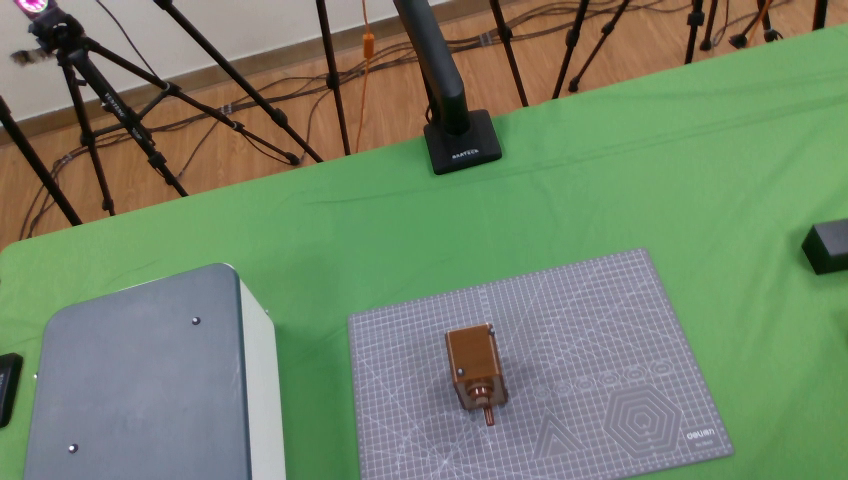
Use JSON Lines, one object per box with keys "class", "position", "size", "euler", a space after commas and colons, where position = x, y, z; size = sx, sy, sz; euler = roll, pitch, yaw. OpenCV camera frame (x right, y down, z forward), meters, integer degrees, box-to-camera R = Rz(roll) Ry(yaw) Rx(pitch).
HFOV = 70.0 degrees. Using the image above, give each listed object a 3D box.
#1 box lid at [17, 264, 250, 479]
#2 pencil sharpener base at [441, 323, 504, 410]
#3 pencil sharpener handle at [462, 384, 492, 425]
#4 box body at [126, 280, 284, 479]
{"class": "box lid", "position": [-0.333, 0.205, 0.697], "size": [0.263, 0.015, 0.367], "euler": [-16, 57, 0]}
{"class": "pencil sharpener base", "position": [0.063, 0.165, 0.766], "size": [0.061, 0.108, 0.076], "euler": [-12, 56, 3]}
{"class": "pencil sharpener handle", "position": [0.069, 0.199, 0.728], "size": [0.036, 0.068, 0.030], "euler": [-16, 56, 9]}
{"class": "box body", "position": [-0.324, 0.244, 0.765], "size": [0.254, 0.162, 0.360], "euler": [-16, 55, 1]}
